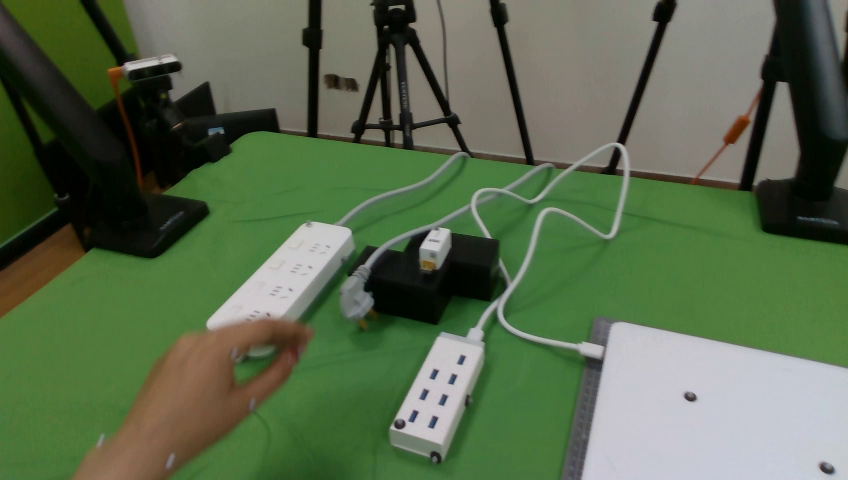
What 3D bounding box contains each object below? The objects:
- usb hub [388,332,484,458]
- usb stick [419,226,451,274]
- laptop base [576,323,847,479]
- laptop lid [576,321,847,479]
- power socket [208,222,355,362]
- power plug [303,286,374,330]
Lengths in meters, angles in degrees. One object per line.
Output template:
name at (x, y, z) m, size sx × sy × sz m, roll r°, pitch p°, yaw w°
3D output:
usb hub at (0.014, 0.137, 0.556) m, size 0.049 × 0.025 × 0.124 m, roll 11°, pitch 37°, yaw 20°
usb stick at (0.010, 0.012, 0.644) m, size 0.021 × 0.027 × 0.059 m, roll 11°, pitch 40°, yaw 16°
laptop base at (0.308, 0.185, 0.473) m, size 0.353 × 0.023 × 0.234 m, roll 11°, pitch 41°, yaw 18°
laptop lid at (0.306, 0.176, 0.465) m, size 0.355 × 0.013 × 0.240 m, roll 12°, pitch 40°, yaw 20°
power socket at (-0.153, 0.048, 0.687) m, size 0.072 × 0.033 × 0.225 m, roll 12°, pitch 37°, yaw 19°
power plug at (-0.086, 0.074, 0.642) m, size 0.072 × 0.053 × 0.035 m, roll -13°, pitch 27°, yaw 47°
